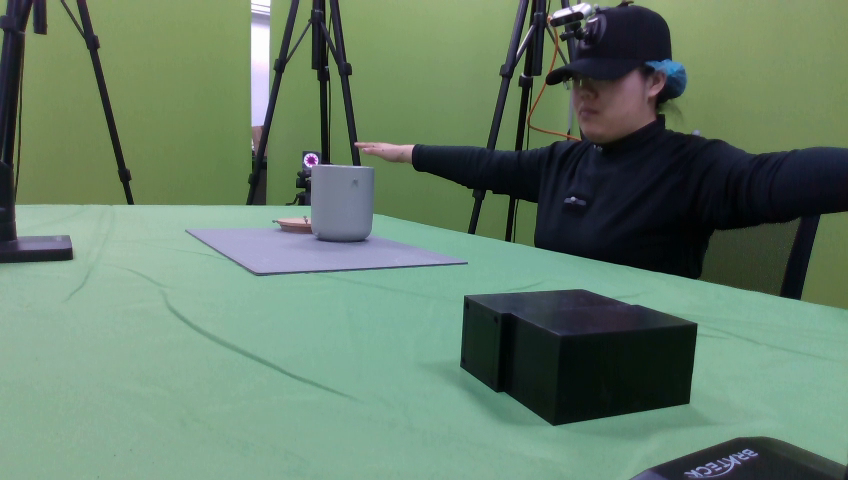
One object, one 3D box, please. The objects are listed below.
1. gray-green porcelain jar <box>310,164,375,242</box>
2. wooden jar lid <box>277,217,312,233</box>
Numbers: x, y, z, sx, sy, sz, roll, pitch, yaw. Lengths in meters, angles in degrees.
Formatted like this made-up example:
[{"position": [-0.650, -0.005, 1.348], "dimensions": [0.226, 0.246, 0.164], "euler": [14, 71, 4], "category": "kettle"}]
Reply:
[{"position": [-0.139, -0.064, 1.025], "dimensions": [0.106, 0.126, 0.106], "euler": [3, 8, 0], "category": "gray-green porcelain jar"}, {"position": [-0.221, -0.028, 1.138], "dimensions": [0.108, 0.020, 0.108], "euler": [2, 8, 0], "category": "wooden jar lid"}]
